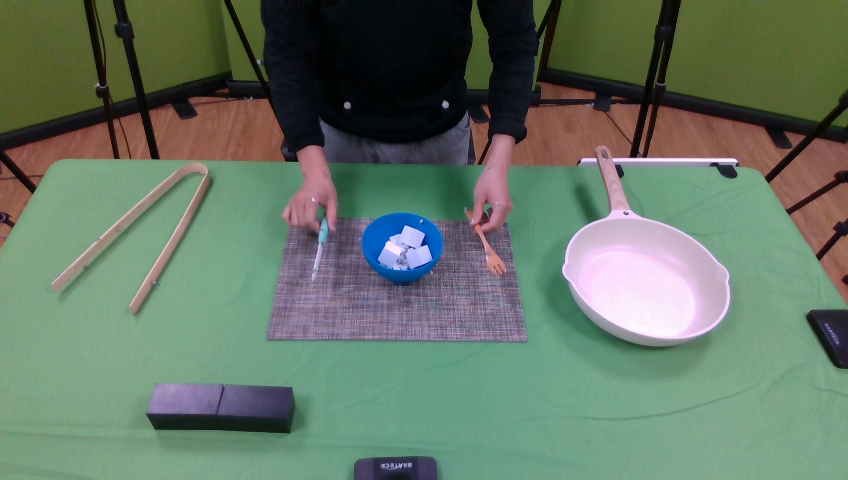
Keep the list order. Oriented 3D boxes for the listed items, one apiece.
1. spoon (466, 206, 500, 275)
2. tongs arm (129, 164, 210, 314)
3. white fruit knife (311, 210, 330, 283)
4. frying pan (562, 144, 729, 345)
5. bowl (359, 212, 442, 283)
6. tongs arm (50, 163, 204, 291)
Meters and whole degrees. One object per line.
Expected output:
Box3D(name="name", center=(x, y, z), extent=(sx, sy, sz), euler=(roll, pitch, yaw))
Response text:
Box3D(name="spoon", center=(0.106, -0.003, 1.143), extent=(0.041, 0.022, 0.192), euler=(-10, 47, -2))
Box3D(name="tongs arm", center=(-0.483, -0.016, 1.170), extent=(0.028, 0.028, 0.385), euler=(5, 46, 4))
Box3D(name="white fruit knife", center=(-0.191, 0.007, 1.112), extent=(0.016, 0.027, 0.206), euler=(-3, 39, 2))
Box3D(name="frying pan", center=(0.396, -0.008, 1.179), extent=(0.307, 0.103, 0.484), euler=(1, 55, -4))
Box3D(name="bowl", center=(-0.044, 0.026, 1.125), extent=(0.151, 0.077, 0.150), euler=(2, 46, -2))
Box3D(name="tongs arm", center=(-0.561, -0.036, 1.178), extent=(0.050, 0.026, 0.383), euler=(17, 46, 10))
